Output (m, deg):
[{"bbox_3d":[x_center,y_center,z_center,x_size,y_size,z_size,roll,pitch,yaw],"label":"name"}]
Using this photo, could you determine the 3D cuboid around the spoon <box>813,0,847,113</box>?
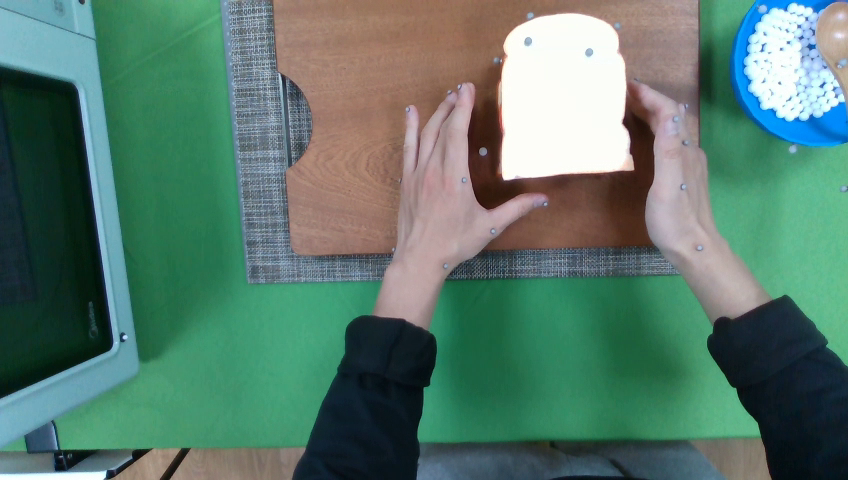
[{"bbox_3d":[0.356,-0.113,0.508,0.041,0.022,0.192,2,76,-1],"label":"spoon"}]

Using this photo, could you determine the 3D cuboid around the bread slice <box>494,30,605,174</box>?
[{"bbox_3d":[0.115,-0.127,0.566,0.105,0.019,0.132,-3,98,6],"label":"bread slice"}]

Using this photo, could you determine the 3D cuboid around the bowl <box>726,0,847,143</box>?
[{"bbox_3d":[0.337,-0.160,0.536,0.151,0.077,0.151,1,97,7],"label":"bowl"}]

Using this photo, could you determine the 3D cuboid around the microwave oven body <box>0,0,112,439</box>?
[{"bbox_3d":[-0.499,-0.045,0.547,0.326,0.260,0.442,-5,97,6],"label":"microwave oven body"}]

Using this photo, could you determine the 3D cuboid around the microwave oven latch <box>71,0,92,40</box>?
[{"bbox_3d":[-0.357,-0.242,0.606,0.030,0.029,0.079,-4,97,6],"label":"microwave oven latch"}]

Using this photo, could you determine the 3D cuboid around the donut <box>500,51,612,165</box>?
[{"bbox_3d":[0.116,-0.116,0.536,0.099,0.048,0.099,1,98,5],"label":"donut"}]

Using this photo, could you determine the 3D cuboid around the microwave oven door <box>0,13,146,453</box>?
[{"bbox_3d":[-0.351,-0.015,0.530,0.039,0.243,0.356,-5,96,7],"label":"microwave oven door"}]

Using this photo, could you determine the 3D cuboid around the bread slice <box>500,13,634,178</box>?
[{"bbox_3d":[0.112,-0.120,0.507,0.107,0.018,0.134,-7,90,7],"label":"bread slice"}]
